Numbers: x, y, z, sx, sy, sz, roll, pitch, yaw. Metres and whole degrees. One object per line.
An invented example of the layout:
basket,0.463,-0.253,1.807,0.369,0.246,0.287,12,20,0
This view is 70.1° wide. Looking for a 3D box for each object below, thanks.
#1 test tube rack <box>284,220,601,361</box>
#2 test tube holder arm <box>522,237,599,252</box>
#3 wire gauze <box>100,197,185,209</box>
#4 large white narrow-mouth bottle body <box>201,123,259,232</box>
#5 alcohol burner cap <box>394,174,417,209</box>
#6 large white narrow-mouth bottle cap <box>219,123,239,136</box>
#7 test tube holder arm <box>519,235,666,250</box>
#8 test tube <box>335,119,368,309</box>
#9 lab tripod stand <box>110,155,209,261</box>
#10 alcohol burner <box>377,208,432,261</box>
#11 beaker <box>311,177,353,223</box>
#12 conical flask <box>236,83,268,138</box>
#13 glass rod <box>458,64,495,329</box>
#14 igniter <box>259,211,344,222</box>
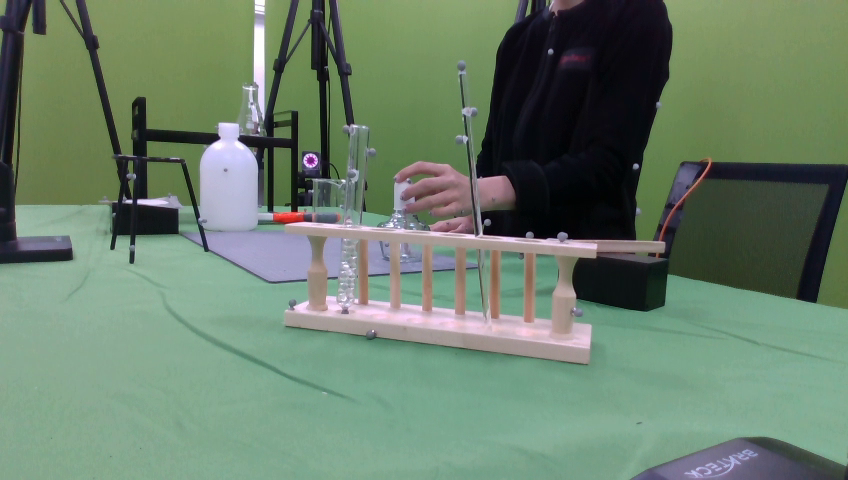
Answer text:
test tube rack,0.013,0.032,0.482,0.242,0.085,0.067,4,7,16
test tube holder arm,0.144,0.005,0.635,0.088,0.015,0.010,-1,15,-19
wire gauze,-0.469,-0.062,1.008,0.126,0.011,0.121,-2,8,-25
large white narrow-mouth bottle body,-0.358,-0.116,1.116,0.102,0.194,0.102,2,8,0
alcohol burner cap,-0.026,-0.068,0.834,0.034,0.048,0.034,0,11,0
large white narrow-mouth bottle cap,-0.356,-0.201,1.104,0.038,0.024,0.037,2,8,0
test tube holder arm,0.186,0.003,0.655,0.179,0.015,0.013,-1,15,-19
test tube,-0.057,-0.019,0.477,0.017,0.150,0.017,5,9,-1
lab tripod stand,-0.361,-0.046,0.806,0.148,0.131,0.148,2,5,0
alcohol burner,-0.027,-0.031,0.838,0.078,0.119,0.078,0,6,0
beaker,-0.167,-0.064,1.106,0.074,0.100,0.083,-2,9,-27
conical flask,-0.400,-0.298,1.396,0.075,0.122,0.075,2,8,0
glass rod,0.040,-0.029,0.450,0.008,0.199,0.008,-7,9,1
igniter,-0.302,-0.047,1.249,0.278,0.025,0.057,-2,-2,-27
